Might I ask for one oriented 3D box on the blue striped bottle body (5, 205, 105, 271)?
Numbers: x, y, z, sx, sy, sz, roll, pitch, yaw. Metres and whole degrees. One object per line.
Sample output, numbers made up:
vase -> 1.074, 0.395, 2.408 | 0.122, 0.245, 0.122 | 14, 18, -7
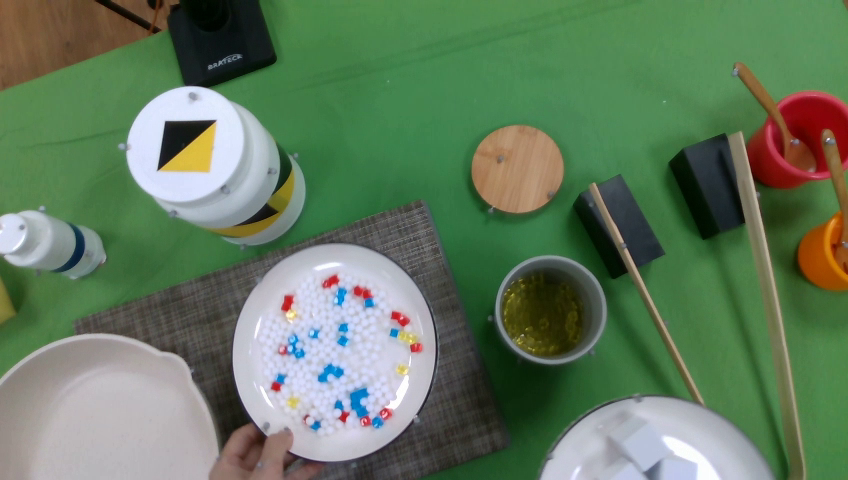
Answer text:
blue striped bottle body -> -0.430, -0.002, 0.695 | 0.063, 0.121, 0.063 | -1, 80, 4

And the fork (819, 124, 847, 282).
fork -> 0.426, -0.033, 0.619 | 0.028, 0.018, 0.209 | -29, 123, 8

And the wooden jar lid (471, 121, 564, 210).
wooden jar lid -> 0.110, -0.088, 0.719 | 0.108, 0.021, 0.108 | -1, 82, 4

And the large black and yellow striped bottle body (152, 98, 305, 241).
large black and yellow striped bottle body -> -0.216, -0.077, 0.660 | 0.131, 0.185, 0.130 | -1, 80, 5

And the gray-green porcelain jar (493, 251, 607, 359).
gray-green porcelain jar -> 0.126, 0.072, 0.637 | 0.106, 0.127, 0.105 | -1, 80, 4

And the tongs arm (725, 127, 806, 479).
tongs arm -> 0.356, 0.073, 0.638 | 0.028, 0.028, 0.387 | -10, 90, -5

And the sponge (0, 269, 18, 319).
sponge -> -0.618, 0.085, 0.726 | 0.207, 0.061, 0.117 | -33, 80, -2

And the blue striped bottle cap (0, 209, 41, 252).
blue striped bottle cap -> -0.435, -0.010, 0.645 | 0.044, 0.021, 0.044 | -2, 78, 7

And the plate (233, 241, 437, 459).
plate -> -0.086, 0.105, 0.598 | 0.208, 0.038, 0.208 | -2, 81, 12

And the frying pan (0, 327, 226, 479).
frying pan -> -0.276, 0.306, 0.638 | 0.484, 0.103, 0.306 | 39, 86, 18

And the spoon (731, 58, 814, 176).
spoon -> 0.373, -0.130, 0.643 | 0.196, 0.021, 0.041 | 36, 86, -35

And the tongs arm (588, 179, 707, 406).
tongs arm -> 0.276, 0.101, 0.638 | 0.051, 0.026, 0.384 | -24, 90, -2

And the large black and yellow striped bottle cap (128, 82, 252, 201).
large black and yellow striped bottle cap -> -0.223, -0.094, 0.578 | 0.115, 0.019, 0.114 | -1, 82, 4

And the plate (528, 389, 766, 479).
plate -> 0.190, 0.233, 0.527 | 0.207, 0.039, 0.207 | 0, 83, 1
